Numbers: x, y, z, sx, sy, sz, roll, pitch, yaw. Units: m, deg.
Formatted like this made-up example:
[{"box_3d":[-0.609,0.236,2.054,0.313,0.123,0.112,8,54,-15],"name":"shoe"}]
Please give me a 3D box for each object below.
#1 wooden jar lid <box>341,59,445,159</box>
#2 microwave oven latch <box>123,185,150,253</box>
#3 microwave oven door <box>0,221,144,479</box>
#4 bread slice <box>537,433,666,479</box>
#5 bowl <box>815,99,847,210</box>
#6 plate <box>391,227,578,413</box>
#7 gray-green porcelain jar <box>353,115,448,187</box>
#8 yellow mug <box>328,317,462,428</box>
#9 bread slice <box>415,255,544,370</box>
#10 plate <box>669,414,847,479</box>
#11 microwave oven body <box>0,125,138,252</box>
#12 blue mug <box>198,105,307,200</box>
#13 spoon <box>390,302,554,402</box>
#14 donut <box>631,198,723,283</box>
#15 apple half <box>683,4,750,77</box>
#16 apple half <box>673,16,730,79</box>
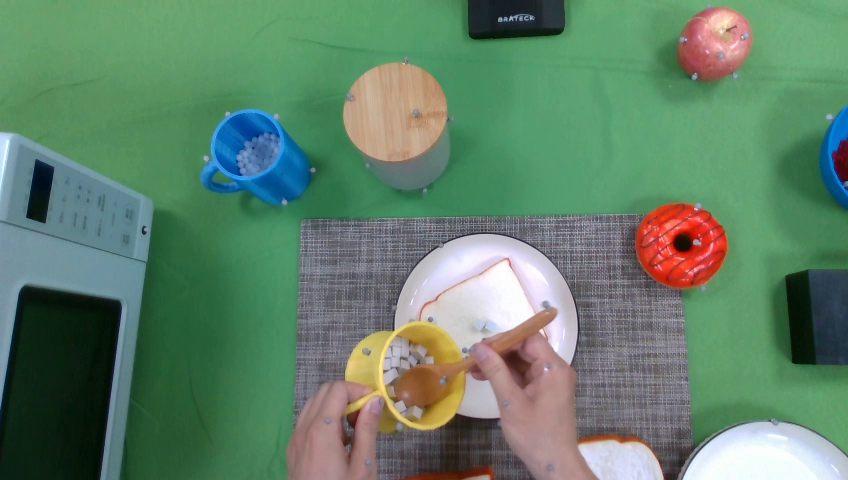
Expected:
[{"box_3d":[-0.032,-0.134,0.630,0.108,0.021,0.108,-1,78,5],"name":"wooden jar lid"},{"box_3d":[-0.350,-0.025,0.725,0.030,0.029,0.079,5,82,5],"name":"microwave oven latch"},{"box_3d":[-0.374,0.174,0.591,0.039,0.245,0.354,2,80,5],"name":"microwave oven door"},{"box_3d":[0.191,0.260,0.629,0.135,0.018,0.106,-5,76,-17],"name":"bread slice"},{"box_3d":[0.499,-0.086,0.669,0.151,0.077,0.151,-1,81,5],"name":"bowl"},{"box_3d":[0.067,0.089,0.690,0.207,0.039,0.207,-1,81,4],"name":"plate"},{"box_3d":[-0.027,-0.122,0.691,0.106,0.127,0.105,-1,80,5],"name":"gray-green porcelain jar"},{"box_3d":[-0.033,0.133,0.576,0.131,0.064,0.100,-20,87,-39],"name":"yellow mug"},{"box_3d":[0.058,0.091,0.691,0.131,0.019,0.104,-27,80,-1],"name":"bread slice"},{"box_3d":[0.358,0.289,0.638,0.209,0.038,0.208,-1,81,4],"name":"plate"},{"box_3d":[-0.516,0.126,0.614,0.326,0.261,0.440,3,81,4],"name":"microwave oven body"},{"box_3d":[-0.205,-0.092,0.709,0.116,0.106,0.082,-26,79,0],"name":"blue mug"},{"box_3d":[0.039,0.104,0.546,0.194,0.021,0.042,-34,103,35],"name":"spoon"},{"box_3d":[0.284,0.001,0.684,0.099,0.048,0.098,-1,81,5],"name":"donut"},{"box_3d":[0.344,-0.236,0.708,0.053,0.075,0.080,-32,75,-7],"name":"apple half"},{"box_3d":[0.313,-0.214,0.705,0.033,0.081,0.081,-33,79,-6],"name":"apple half"}]
